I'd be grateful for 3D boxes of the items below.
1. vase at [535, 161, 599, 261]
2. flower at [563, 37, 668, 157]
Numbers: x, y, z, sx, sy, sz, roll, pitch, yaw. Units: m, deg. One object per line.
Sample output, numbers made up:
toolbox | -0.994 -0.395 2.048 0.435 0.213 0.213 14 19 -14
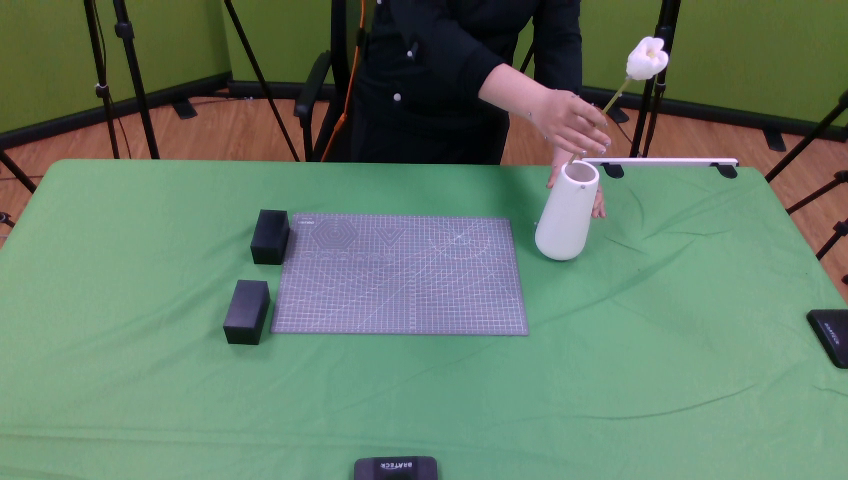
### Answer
vase | 0.271 -0.052 1.145 0.098 0.201 0.097 1 46 -1
flower | 0.268 -0.194 0.916 0.038 0.362 0.044 -42 84 -13
